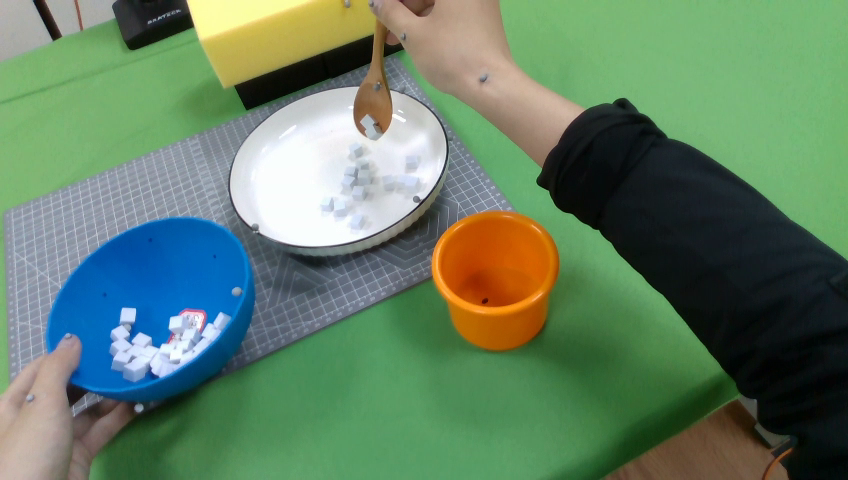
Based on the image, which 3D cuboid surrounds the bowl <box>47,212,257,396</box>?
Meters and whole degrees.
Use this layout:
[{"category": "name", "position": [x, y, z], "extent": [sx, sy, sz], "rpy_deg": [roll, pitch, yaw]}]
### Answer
[{"category": "bowl", "position": [-0.193, 0.060, 0.469], "extent": [0.151, 0.077, 0.150], "rpy_deg": [-5, 53, 7]}]

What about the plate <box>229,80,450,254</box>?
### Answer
[{"category": "plate", "position": [-0.078, -0.069, 0.575], "extent": [0.209, 0.038, 0.207], "rpy_deg": [-4, 54, 6]}]

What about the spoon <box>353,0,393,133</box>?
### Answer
[{"category": "spoon", "position": [-0.035, -0.162, 0.487], "extent": [0.041, 0.195, 0.021], "rpy_deg": [33, 56, 13]}]

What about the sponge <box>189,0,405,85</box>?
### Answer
[{"category": "sponge", "position": [-0.138, -0.257, 0.648], "extent": [0.207, 0.061, 0.117], "rpy_deg": [-24, 54, -9]}]
